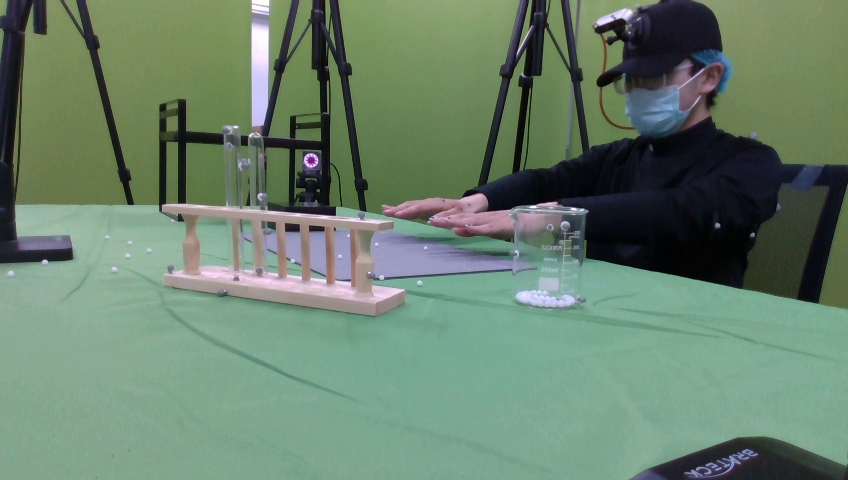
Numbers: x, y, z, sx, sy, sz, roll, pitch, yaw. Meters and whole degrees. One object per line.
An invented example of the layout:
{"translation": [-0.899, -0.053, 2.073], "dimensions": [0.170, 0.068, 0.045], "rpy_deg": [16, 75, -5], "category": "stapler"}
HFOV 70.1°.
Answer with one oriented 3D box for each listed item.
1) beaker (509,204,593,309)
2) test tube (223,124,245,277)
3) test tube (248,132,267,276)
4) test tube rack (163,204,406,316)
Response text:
{"translation": [0.126, 0.015, 0.613], "dimensions": [0.084, 0.100, 0.074], "rpy_deg": [1, 7, -5], "category": "beaker"}
{"translation": [-0.186, -0.037, 0.592], "dimensions": [0.017, 0.150, 0.017], "rpy_deg": [1, 11, 0], "category": "test tube"}
{"translation": [-0.173, -0.036, 0.629], "dimensions": [0.017, 0.150, 0.017], "rpy_deg": [0, 7, 0], "category": "test tube"}
{"translation": [-0.141, 0.013, 0.601], "dimensions": [0.241, 0.085, 0.067], "rpy_deg": [5, 7, 21], "category": "test tube rack"}
